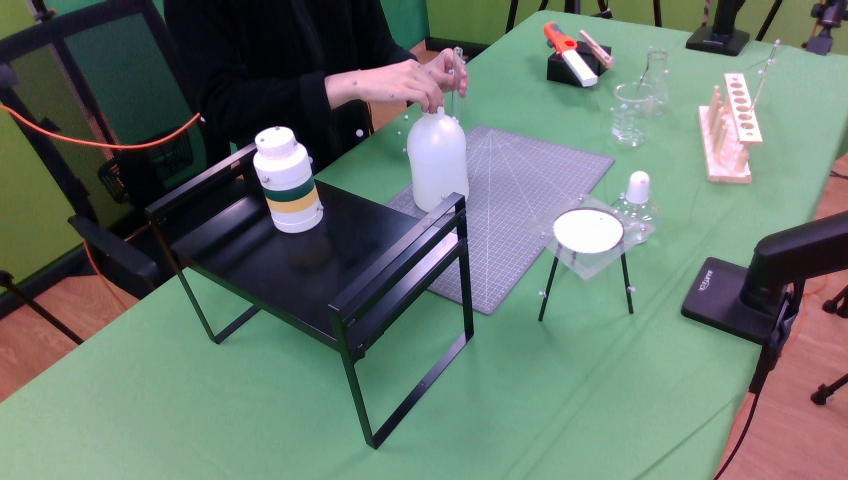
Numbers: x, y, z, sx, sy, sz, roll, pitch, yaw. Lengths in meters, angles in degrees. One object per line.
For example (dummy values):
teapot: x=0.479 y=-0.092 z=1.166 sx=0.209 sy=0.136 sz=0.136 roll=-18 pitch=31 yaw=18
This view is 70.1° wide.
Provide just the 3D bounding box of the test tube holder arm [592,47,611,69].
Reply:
test tube holder arm: x=0.386 y=-0.398 z=1.317 sx=0.010 sy=0.015 sz=0.087 roll=-10 pitch=41 yaw=-3

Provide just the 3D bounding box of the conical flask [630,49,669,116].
conical flask: x=0.457 y=-0.317 z=1.205 sx=0.075 sy=0.122 sz=0.075 roll=-4 pitch=41 yaw=4

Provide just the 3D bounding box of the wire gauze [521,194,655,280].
wire gauze: x=0.207 y=-0.012 z=0.772 sx=0.122 sy=0.011 sz=0.124 roll=-28 pitch=44 yaw=-20

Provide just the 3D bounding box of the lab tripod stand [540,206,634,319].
lab tripod stand: x=0.217 y=0.034 z=0.821 sx=0.148 sy=0.132 sz=0.147 roll=-4 pitch=42 yaw=4

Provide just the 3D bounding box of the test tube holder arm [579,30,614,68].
test tube holder arm: x=0.384 y=-0.428 z=1.351 sx=0.013 sy=0.015 sz=0.177 roll=-11 pitch=41 yaw=-4

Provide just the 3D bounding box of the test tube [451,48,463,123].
test tube: x=0.057 y=-0.264 z=1.058 sx=0.017 sy=0.151 sz=0.017 roll=0 pitch=43 yaw=0

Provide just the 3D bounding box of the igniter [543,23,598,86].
igniter: x=0.320 y=-0.419 z=1.345 sx=0.057 sy=0.025 sz=0.274 roll=-12 pitch=44 yaw=-3

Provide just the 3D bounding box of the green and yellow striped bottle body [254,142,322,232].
green and yellow striped bottle body: x=-0.165 y=-0.073 z=0.732 sx=0.063 sy=0.120 sz=0.063 roll=-4 pitch=41 yaw=4

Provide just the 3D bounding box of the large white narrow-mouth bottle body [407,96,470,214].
large white narrow-mouth bottle body: x=0.023 y=-0.145 z=1.008 sx=0.102 sy=0.195 sz=0.101 roll=-5 pitch=39 yaw=5

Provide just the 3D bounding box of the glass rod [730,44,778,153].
glass rod: x=0.556 y=-0.234 z=1.021 sx=0.008 sy=0.200 sz=0.008 roll=2 pitch=40 yaw=-1

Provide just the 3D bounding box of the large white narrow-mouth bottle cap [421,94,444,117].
large white narrow-mouth bottle cap: x=0.013 y=-0.212 z=0.954 sx=0.038 sy=0.024 sz=0.037 roll=-5 pitch=39 yaw=4

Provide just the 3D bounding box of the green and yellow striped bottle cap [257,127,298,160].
green and yellow striped bottle cap: x=-0.169 y=-0.112 z=0.698 sx=0.045 sy=0.020 sz=0.045 roll=-5 pitch=40 yaw=5

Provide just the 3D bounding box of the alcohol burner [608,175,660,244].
alcohol burner: x=0.322 y=-0.053 z=0.924 sx=0.078 sy=0.119 sz=0.077 roll=-4 pitch=43 yaw=4

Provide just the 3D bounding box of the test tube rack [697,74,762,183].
test tube rack: x=0.547 y=-0.208 z=1.095 sx=0.066 sy=0.085 sz=0.242 roll=5 pitch=42 yaw=15

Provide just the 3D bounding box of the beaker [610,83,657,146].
beaker: x=0.388 y=-0.235 z=1.138 sx=0.074 sy=0.101 sz=0.083 roll=-31 pitch=45 yaw=-25

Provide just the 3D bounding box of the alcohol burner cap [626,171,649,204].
alcohol burner cap: x=0.320 y=-0.081 z=0.900 sx=0.034 sy=0.048 sz=0.033 roll=-4 pitch=42 yaw=4
